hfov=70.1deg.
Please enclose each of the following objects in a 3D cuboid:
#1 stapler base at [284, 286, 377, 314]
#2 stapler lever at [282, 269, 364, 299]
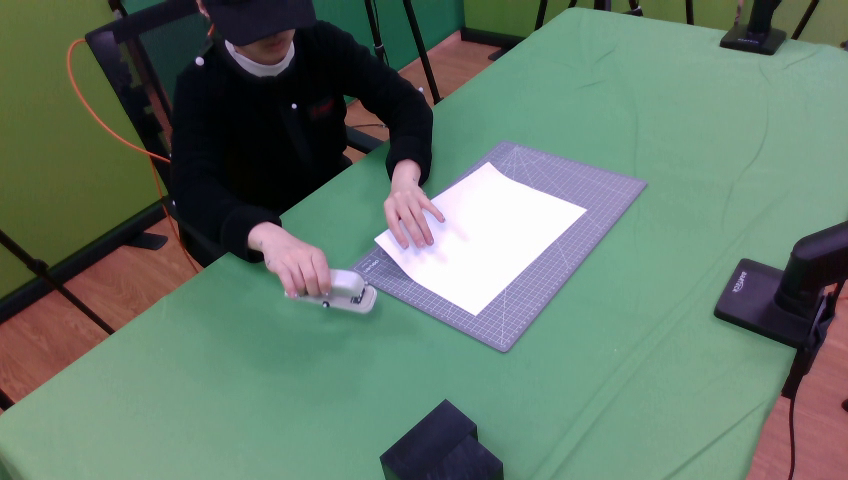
[{"bbox_3d":[-0.131,0.069,0.827,0.130,0.024,0.041,8,56,16],"label":"stapler base"},{"bbox_3d":[-0.136,0.056,0.807,0.117,0.040,0.027,9,56,16],"label":"stapler lever"}]
